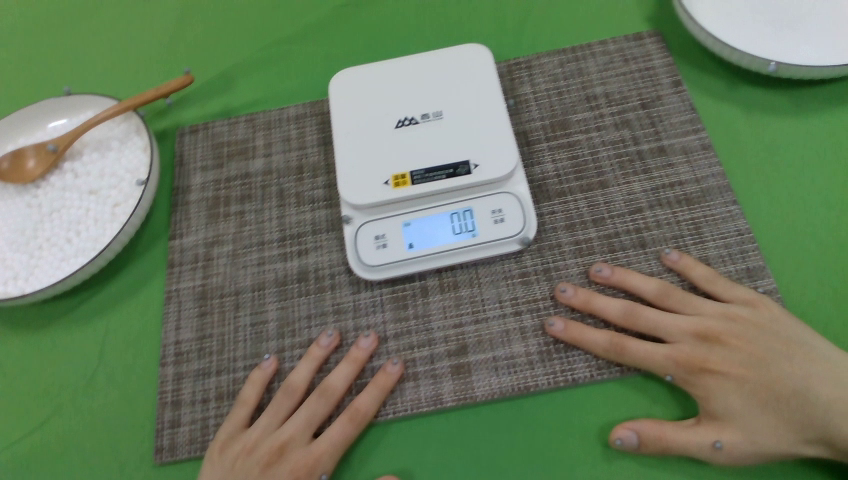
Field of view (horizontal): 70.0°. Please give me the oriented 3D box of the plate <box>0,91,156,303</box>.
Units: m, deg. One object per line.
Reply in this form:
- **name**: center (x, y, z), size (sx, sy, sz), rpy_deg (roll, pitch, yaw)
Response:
- **plate**: center (-0.330, -0.038, 0.526), size (0.209, 0.038, 0.207), rpy_deg (-3, 62, 6)

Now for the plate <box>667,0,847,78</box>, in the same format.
- **plate**: center (0.315, -0.217, 0.527), size (0.207, 0.039, 0.206), rpy_deg (-3, 62, 7)

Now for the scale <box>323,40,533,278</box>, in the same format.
- **scale**: center (-0.003, -0.073, 0.497), size (0.148, 0.032, 0.199), rpy_deg (-12, 62, 2)

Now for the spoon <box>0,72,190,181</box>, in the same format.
- **spoon**: center (-0.297, -0.103, 0.537), size (0.194, 0.022, 0.041), rpy_deg (-28, 62, 1)
